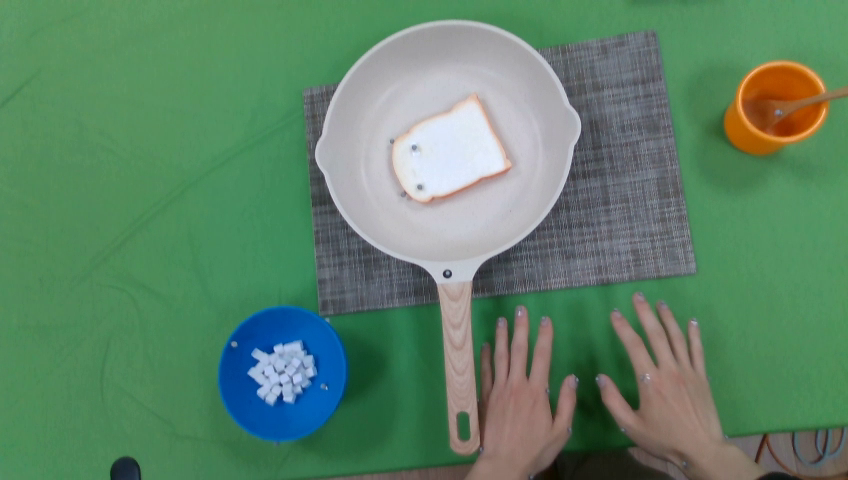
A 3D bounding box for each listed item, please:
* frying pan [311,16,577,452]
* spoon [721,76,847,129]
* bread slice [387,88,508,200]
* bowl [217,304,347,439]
[{"bbox_3d":[0.027,-0.014,0.688,0.306,0.103,0.485,-5,74,9],"label":"frying pan"},{"bbox_3d":[0.407,-0.153,0.628,0.022,0.193,0.041,6,81,-35],"label":"spoon"},{"bbox_3d":[0.024,-0.108,0.742,0.134,0.018,0.106,-28,79,2],"label":"bread slice"},{"bbox_3d":[-0.155,0.151,0.713,0.151,0.077,0.151,-1,82,9],"label":"bowl"}]
